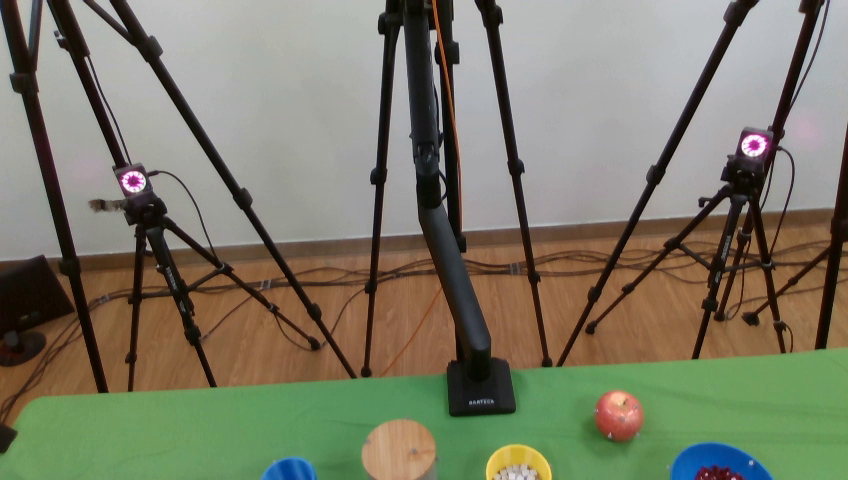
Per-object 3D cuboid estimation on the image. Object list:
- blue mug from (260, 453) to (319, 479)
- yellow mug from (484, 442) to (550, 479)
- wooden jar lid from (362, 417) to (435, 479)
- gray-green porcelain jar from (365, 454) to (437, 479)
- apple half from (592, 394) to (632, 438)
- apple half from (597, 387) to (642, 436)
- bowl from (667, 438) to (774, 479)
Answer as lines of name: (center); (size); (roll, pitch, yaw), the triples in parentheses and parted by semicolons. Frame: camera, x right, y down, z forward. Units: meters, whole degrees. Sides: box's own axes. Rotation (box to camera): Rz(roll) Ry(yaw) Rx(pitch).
blue mug: (-0.212, 0.395, 0.917); (0.117, 0.107, 0.081); (-20, 41, -19)
yellow mug: (0.129, 0.380, 0.937); (0.131, 0.064, 0.099); (-19, 41, -17)
wooden jar lid: (-0.037, 0.310, 0.890); (0.108, 0.021, 0.107); (-3, 36, 3)
gray-green porcelain jar: (-0.033, 0.359, 0.929); (0.106, 0.127, 0.105); (-2, 38, 2)
apple half: (0.305, 0.302, 1.010); (0.033, 0.082, 0.080); (-22, 41, -28)
apple half: (0.336, 0.288, 1.028); (0.053, 0.075, 0.080); (-21, 37, -27)
bowl: (0.433, 0.381, 0.896); (0.151, 0.077, 0.150); (-3, 39, 3)
